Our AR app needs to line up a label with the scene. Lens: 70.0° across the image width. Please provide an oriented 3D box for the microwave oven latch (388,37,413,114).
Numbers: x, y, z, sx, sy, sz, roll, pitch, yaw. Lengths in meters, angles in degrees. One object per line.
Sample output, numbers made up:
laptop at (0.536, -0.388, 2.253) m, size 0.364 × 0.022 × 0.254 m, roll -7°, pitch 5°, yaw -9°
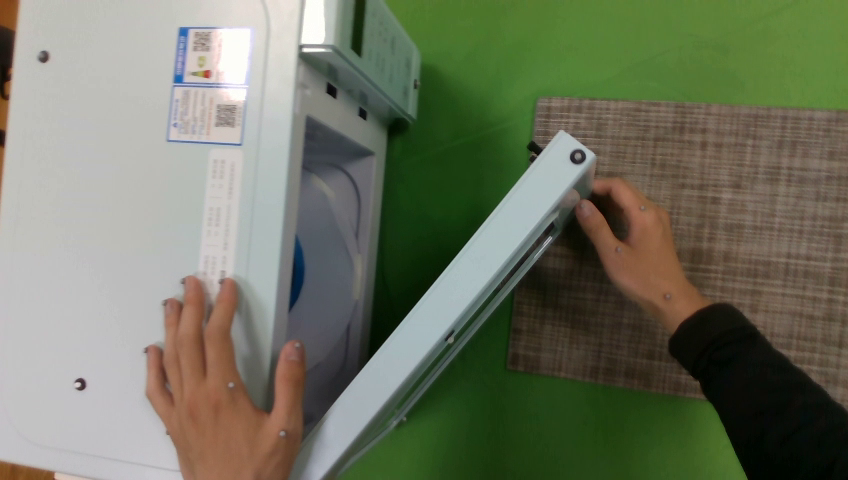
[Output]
microwave oven latch at (-0.029, -0.181, 0.667) m, size 0.030 × 0.029 × 0.079 m, roll 5°, pitch 91°, yaw 13°

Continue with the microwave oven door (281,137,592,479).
microwave oven door at (0.021, 0.073, 0.545) m, size 0.039 × 0.244 × 0.356 m, roll 41°, pitch 98°, yaw 13°

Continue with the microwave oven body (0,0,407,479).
microwave oven body at (-0.209, -0.018, 0.607) m, size 0.325 × 0.261 × 0.441 m, roll 4°, pitch 90°, yaw 13°
